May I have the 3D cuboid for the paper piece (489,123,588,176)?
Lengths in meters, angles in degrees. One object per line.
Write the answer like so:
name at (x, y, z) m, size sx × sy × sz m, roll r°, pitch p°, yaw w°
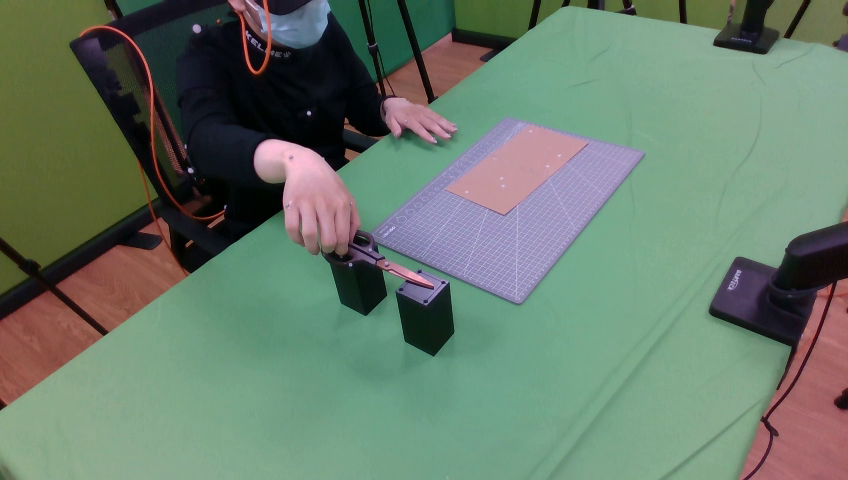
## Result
paper piece at (0.218, -0.176, 1.150) m, size 0.135 × 0.009 × 0.138 m, roll 30°, pitch 52°, yaw 31°

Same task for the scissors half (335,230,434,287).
scissors half at (-0.053, 0.024, 0.803) m, size 0.173 × 0.013 × 0.040 m, roll 29°, pitch 49°, yaw 33°

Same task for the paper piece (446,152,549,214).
paper piece at (0.130, -0.105, 1.078) m, size 0.134 × 0.004 × 0.136 m, roll 28°, pitch 52°, yaw 32°

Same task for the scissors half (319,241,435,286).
scissors half at (-0.064, 0.034, 0.789) m, size 0.174 × 0.013 × 0.040 m, roll 15°, pitch 37°, yaw 20°
